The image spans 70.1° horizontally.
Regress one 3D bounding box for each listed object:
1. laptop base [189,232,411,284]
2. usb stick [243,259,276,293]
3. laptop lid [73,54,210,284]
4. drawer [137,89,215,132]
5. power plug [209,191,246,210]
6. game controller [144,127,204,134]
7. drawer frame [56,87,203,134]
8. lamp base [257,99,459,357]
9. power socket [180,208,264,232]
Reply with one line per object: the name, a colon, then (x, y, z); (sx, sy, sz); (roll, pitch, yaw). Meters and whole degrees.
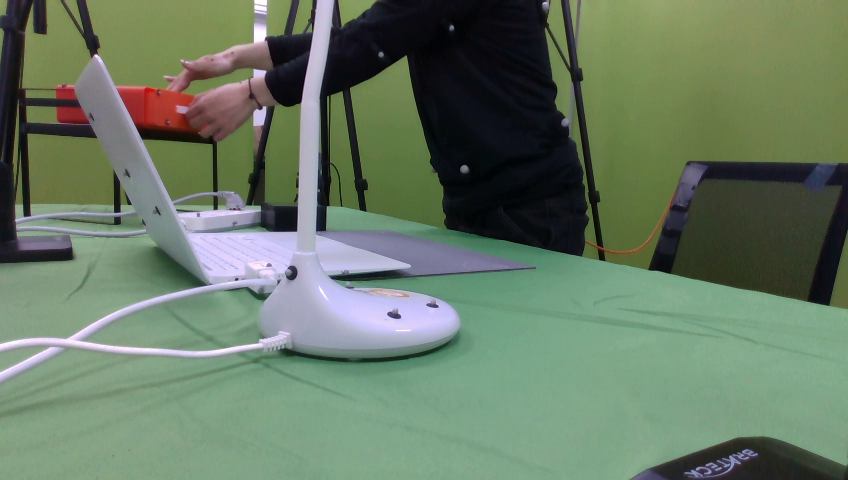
laptop base: (-0.204, 0.019, 0.807); (0.237, 0.023, 0.352); (0, 7, -33)
usb stick: (-0.166, 0.035, 0.604); (0.021, 0.027, 0.059); (-8, 8, -28)
laptop lid: (-0.341, -0.079, 0.704); (0.013, 0.242, 0.355); (-30, 23, -26)
drawer: (-0.580, -0.266, 1.259); (0.211, 0.073, 0.195); (3, 8, 14)
power plug: (-0.388, -0.071, 1.204); (0.072, 0.052, 0.035); (4, 8, 26)
game controller: (-0.539, -0.250, 1.251); (0.097, 0.051, 0.155); (9, 12, 17)
drawer frame: (-0.598, -0.269, 1.262); (0.213, 0.082, 0.202); (4, 8, 14)
lamp base: (-0.055, -0.014, 0.463); (0.160, 0.180, 0.180); (6, 11, 27)
power socket: (-0.381, -0.038, 1.128); (0.072, 0.032, 0.227); (5, 8, 16)
